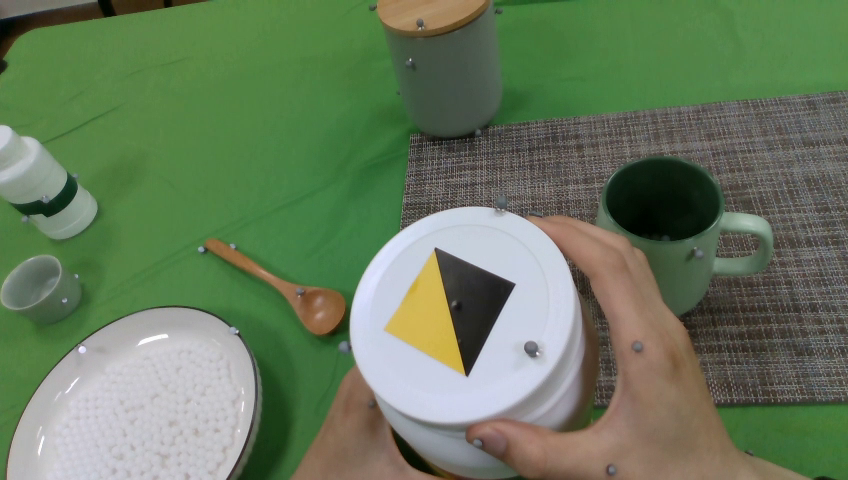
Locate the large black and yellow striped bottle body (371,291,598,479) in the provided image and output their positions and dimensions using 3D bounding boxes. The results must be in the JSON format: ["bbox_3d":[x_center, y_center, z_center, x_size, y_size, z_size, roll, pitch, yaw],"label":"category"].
[{"bbox_3d":[0.039,0.085,0.379,0.130,0.186,0.129,-6,58,9],"label":"large black and yellow striped bottle body"}]

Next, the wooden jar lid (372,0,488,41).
[{"bbox_3d":[0.007,-0.212,0.555,0.108,0.021,0.107,-8,52,11],"label":"wooden jar lid"}]

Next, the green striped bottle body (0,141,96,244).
[{"bbox_3d":[-0.401,-0.053,0.620,0.063,0.120,0.062,-6,54,9],"label":"green striped bottle body"}]

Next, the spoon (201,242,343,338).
[{"bbox_3d":[-0.146,0.037,0.559,0.192,0.022,0.041,26,81,27],"label":"spoon"}]

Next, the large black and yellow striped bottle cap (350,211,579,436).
[{"bbox_3d":[0.018,0.038,0.300,0.115,0.019,0.114,-10,59,17],"label":"large black and yellow striped bottle cap"}]

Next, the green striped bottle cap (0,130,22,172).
[{"bbox_3d":[-0.410,-0.084,0.578,0.044,0.020,0.044,-4,56,7],"label":"green striped bottle cap"}]

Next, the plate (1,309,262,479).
[{"bbox_3d":[-0.226,0.154,0.485,0.209,0.038,0.207,-6,54,8],"label":"plate"}]

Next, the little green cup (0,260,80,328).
[{"bbox_3d":[-0.370,0.054,0.587,0.061,0.039,0.061,-6,53,9],"label":"little green cup"}]

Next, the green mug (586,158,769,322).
[{"bbox_3d":[0.186,0.003,0.452,0.125,0.106,0.092,4,56,16],"label":"green mug"}]

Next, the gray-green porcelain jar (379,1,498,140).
[{"bbox_3d":[0.018,-0.172,0.603,0.106,0.128,0.105,-6,50,8],"label":"gray-green porcelain jar"}]
